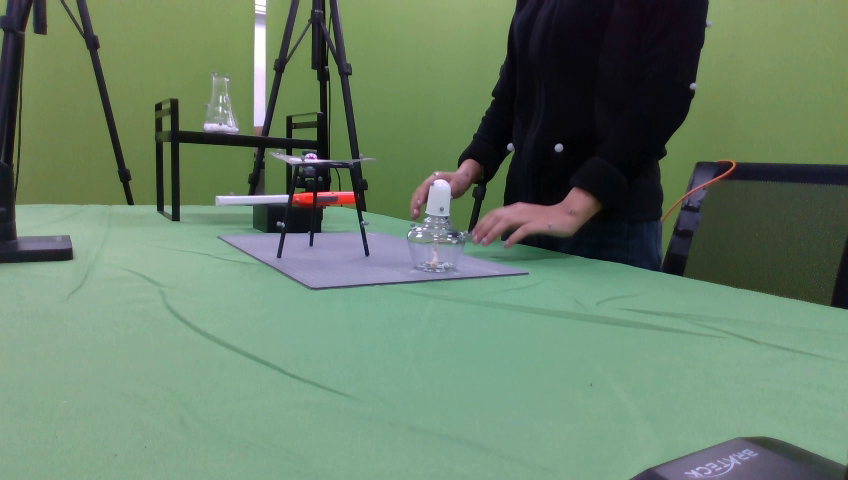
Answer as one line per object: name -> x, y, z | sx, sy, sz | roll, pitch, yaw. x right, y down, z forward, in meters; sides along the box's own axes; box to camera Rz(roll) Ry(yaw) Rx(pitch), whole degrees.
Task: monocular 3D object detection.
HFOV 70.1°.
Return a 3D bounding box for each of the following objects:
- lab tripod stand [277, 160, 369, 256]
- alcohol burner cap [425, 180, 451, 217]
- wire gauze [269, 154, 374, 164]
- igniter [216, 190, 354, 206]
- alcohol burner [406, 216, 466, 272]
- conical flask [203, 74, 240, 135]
lab tripod stand -> -0.149, -0.046, 0.861 | 0.148, 0.131, 0.148 | 3, 9, 0
alcohol burner cap -> 0.020, -0.053, 0.772 | 0.034, 0.048, 0.034 | 6, 15, -1
wire gauze -> -0.146, -0.114, 0.860 | 0.122, 0.011, 0.124 | -2, 9, -28
igniter -> -0.248, -0.079, 1.142 | 0.278, 0.025, 0.057 | -5, 8, -31
alcohol burner -> 0.017, -0.018, 0.777 | 0.078, 0.119, 0.078 | 5, 7, 0
conical flask -> -0.425, -0.284, 1.271 | 0.075, 0.122, 0.075 | 3, 7, 0
